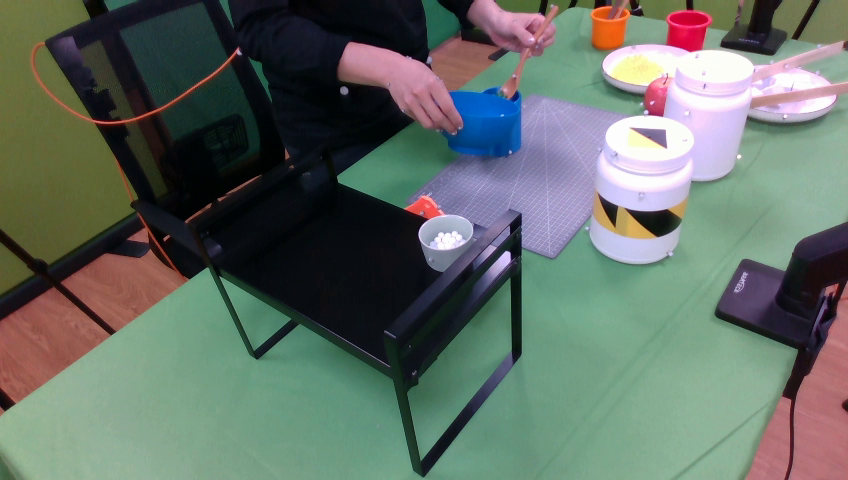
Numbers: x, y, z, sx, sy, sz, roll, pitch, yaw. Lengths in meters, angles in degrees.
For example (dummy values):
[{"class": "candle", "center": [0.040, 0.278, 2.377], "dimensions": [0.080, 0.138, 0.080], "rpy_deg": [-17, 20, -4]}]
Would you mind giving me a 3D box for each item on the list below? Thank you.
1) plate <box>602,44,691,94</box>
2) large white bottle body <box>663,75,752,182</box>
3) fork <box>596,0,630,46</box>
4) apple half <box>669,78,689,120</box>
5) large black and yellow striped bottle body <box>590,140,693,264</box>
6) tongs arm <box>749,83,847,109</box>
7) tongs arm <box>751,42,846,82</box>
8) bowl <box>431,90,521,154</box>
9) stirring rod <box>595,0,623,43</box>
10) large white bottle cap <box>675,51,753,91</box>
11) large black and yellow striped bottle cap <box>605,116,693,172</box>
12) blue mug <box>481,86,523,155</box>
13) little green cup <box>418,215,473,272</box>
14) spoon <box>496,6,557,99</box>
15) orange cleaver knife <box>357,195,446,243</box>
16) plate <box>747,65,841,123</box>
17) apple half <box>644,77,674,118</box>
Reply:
[{"class": "plate", "center": [0.495, -0.367, 1.317], "dimensions": [0.209, 0.038, 0.208], "rpy_deg": [-4, 40, 4]}, {"class": "large white bottle body", "center": [0.472, -0.207, 1.022], "dimensions": [0.130, 0.185, 0.130], "rpy_deg": [-4, 41, 4]}, {"class": "fork", "center": [0.481, -0.556, 1.452], "dimensions": [0.028, 0.019, 0.207], "rpy_deg": [40, 103, 40]}, {"class": "apple half", "center": [0.498, -0.273, 1.180], "dimensions": [0.032, 0.082, 0.081], "rpy_deg": [7, 42, 25]}, {"class": "large black and yellow striped bottle body", "center": [0.317, -0.071, 0.889], "dimensions": [0.131, 0.185, 0.130], "rpy_deg": [-4, 41, 4]}, {"class": "tongs arm", "center": [0.734, -0.280, 1.133], "dimensions": [0.388, 0.028, 0.028], "rpy_deg": [-9, 47, -5]}, {"class": "tongs arm", "center": [0.708, -0.331, 1.194], "dimensions": [0.386, 0.026, 0.050], "rpy_deg": [-18, 45, -16]}, {"class": "bowl", "center": [0.082, -0.194, 1.017], "dimensions": [0.151, 0.077, 0.151], "rpy_deg": [6, 28, -2]}, {"class": "stirring rod", "center": [0.460, -0.556, 1.459], "dimensions": [0.014, 0.006, 0.176], "rpy_deg": [30, 93, 23]}, {"class": "large white bottle cap", "center": [0.463, -0.271, 0.967], "dimensions": [0.115, 0.018, 0.114], "rpy_deg": [-4, 40, 3]}, {"class": "large black and yellow striped bottle cap", "center": [0.309, -0.134, 0.833], "dimensions": [0.115, 0.019, 0.114], "rpy_deg": [-5, 40, 5]}, {"class": "blue mug", "center": [0.135, -0.235, 1.163], "dimensions": [0.082, 0.106, 0.115], "rpy_deg": [-36, 48, -29]}, {"class": "little green cup", "center": [0.026, 0.005, 0.678], "dimensions": [0.061, 0.039, 0.061], "rpy_deg": [-4, 40, 4]}, {"class": "spoon", "center": [0.184, -0.333, 1.092], "dimensions": [0.022, 0.193, 0.041], "rpy_deg": [17, 20, -33]}, {"class": "orange cleaver knife", "center": [-0.033, -0.027, 0.964], "dimensions": [0.210, 0.077, 0.012], "rpy_deg": [-9, 31, 50]}, {"class": "plate", "center": [0.694, -0.282, 1.189], "dimensions": [0.207, 0.039, 0.206], "rpy_deg": [-4, 40, 4]}, {"class": "apple half", "center": [0.463, -0.279, 1.194], "dimensions": [0.053, 0.075, 0.081], "rpy_deg": [8, 46, 24]}]
